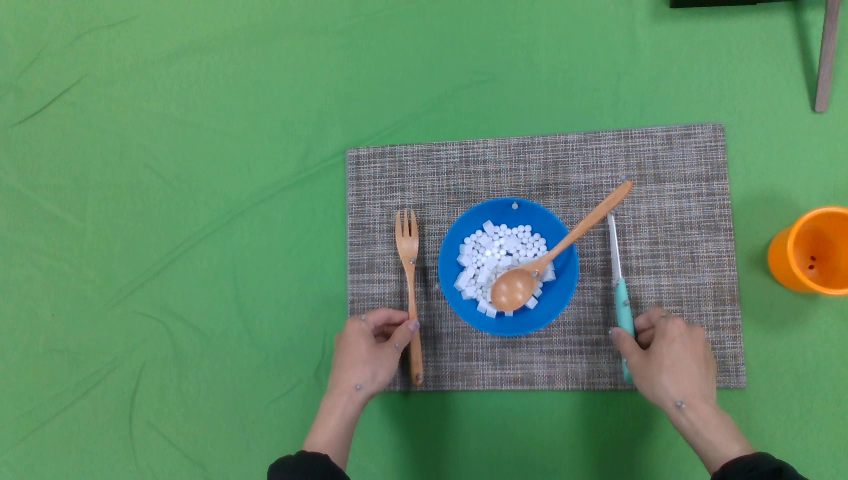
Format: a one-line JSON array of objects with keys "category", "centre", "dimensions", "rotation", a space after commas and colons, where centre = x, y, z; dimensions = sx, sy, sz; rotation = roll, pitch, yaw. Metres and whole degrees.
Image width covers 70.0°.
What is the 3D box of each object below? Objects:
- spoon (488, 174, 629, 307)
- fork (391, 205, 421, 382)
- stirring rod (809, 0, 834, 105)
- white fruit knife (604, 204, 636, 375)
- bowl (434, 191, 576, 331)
[{"category": "spoon", "centre": [0.142, 0.002, 0.640], "dimensions": [0.041, 0.021, 0.194], "rotation": [47, 110, 5]}, {"category": "fork", "centre": [-0.018, 0.060, 0.707], "dimensions": [0.028, 0.018, 0.206], "rotation": [-3, 76, -12]}, {"category": "stirring rod", "centre": [0.447, -0.241, 0.675], "dimensions": [0.014, 0.006, 0.177], "rotation": [-1, 103, 4]}, {"category": "white fruit knife", "centre": [0.216, 0.046, 0.682], "dimensions": [0.016, 0.027, 0.206], "rotation": [-3, 77, -3]}, {"category": "bowl", "centre": [0.090, 0.027, 0.679], "dimensions": [0.151, 0.077, 0.151], "rotation": [-1, 82, 7]}]
